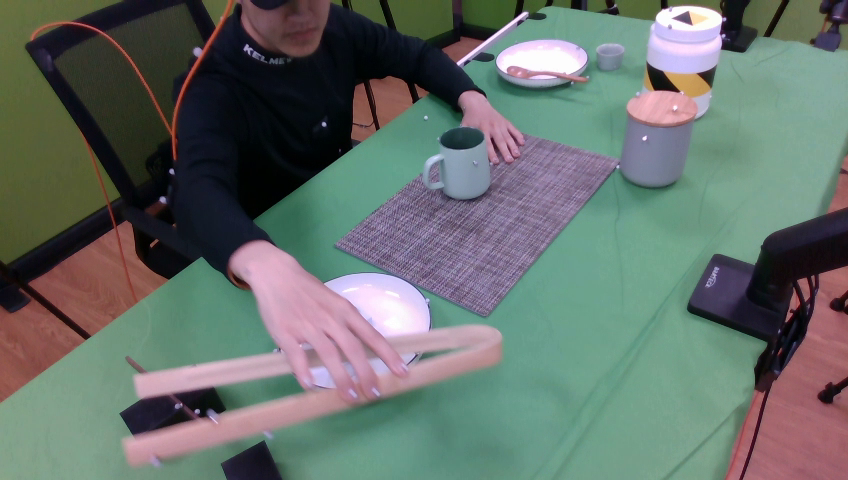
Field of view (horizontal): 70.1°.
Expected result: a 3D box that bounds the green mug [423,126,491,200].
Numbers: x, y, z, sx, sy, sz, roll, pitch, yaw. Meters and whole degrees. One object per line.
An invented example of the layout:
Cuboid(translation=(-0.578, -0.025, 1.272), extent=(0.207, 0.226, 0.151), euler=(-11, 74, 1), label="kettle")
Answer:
Cuboid(translation=(0.055, -0.125, 1.039), extent=(0.126, 0.105, 0.091), euler=(-25, 44, -18), label="green mug")

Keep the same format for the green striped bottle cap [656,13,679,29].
Cuboid(translation=(0.515, -0.463, 1.278), extent=(0.044, 0.020, 0.044), euler=(-5, 42, 5), label="green striped bottle cap")

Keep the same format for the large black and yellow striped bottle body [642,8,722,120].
Cuboid(translation=(0.493, -0.334, 1.161), extent=(0.131, 0.185, 0.130), euler=(-4, 41, 4), label="large black and yellow striped bottle body")

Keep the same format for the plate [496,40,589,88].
Cuboid(translation=(0.269, -0.398, 1.381), extent=(0.209, 0.038, 0.208), euler=(-4, 41, 4), label="plate")

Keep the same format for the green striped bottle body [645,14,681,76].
Cuboid(translation=(0.520, -0.424, 1.312), extent=(0.063, 0.120, 0.063), euler=(-4, 41, 4), label="green striped bottle body")

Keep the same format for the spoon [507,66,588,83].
Cuboid(translation=(0.265, -0.357, 1.311), extent=(0.192, 0.022, 0.042), euler=(18, 48, 38), label="spoon")

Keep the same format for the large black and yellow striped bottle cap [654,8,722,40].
Cuboid(translation=(0.483, -0.397, 1.108), extent=(0.115, 0.019, 0.114), euler=(-3, 41, 3), label="large black and yellow striped bottle cap")

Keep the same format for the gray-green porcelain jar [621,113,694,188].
Cuboid(translation=(0.390, -0.160, 1.020), extent=(0.106, 0.127, 0.105), euler=(-4, 41, 4), label="gray-green porcelain jar")

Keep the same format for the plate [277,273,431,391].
Cuboid(translation=(-0.091, 0.129, 0.821), extent=(0.207, 0.039, 0.206), euler=(-4, 41, 4), label="plate")

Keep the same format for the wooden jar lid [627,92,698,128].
Cuboid(translation=(0.384, -0.207, 0.979), extent=(0.108, 0.021, 0.108), euler=(-6, 39, 5), label="wooden jar lid")

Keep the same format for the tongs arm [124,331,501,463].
Cuboid(translation=(-0.083, 0.146, 0.601), extent=(0.387, 0.026, 0.050), euler=(-9, 14, -23), label="tongs arm")

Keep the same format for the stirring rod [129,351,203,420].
Cuboid(translation=(-0.310, 0.180, 0.732), extent=(0.175, 0.014, 0.006), euler=(26, 55, 32), label="stirring rod")

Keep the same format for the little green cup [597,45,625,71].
Cuboid(translation=(0.422, -0.413, 1.375), extent=(0.061, 0.039, 0.061), euler=(-3, 41, 3), label="little green cup")

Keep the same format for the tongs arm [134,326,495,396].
Cuboid(translation=(-0.108, 0.131, 0.665), extent=(0.389, 0.028, 0.028), euler=(-6, 10, -13), label="tongs arm")
